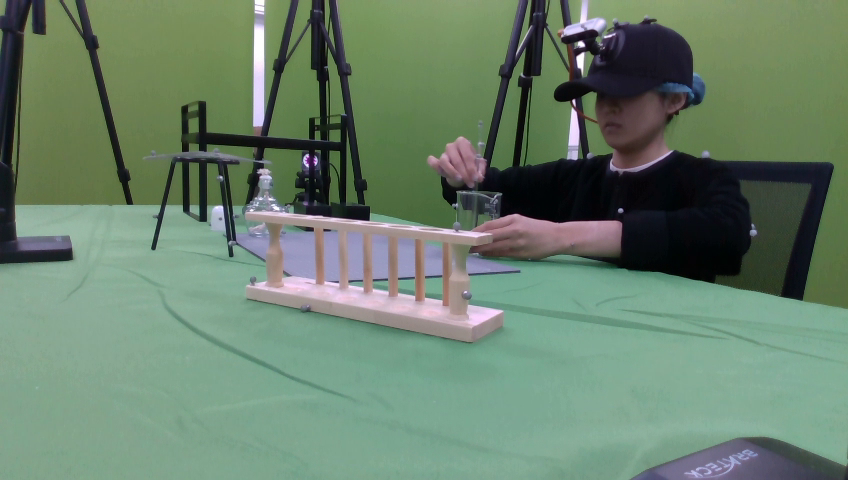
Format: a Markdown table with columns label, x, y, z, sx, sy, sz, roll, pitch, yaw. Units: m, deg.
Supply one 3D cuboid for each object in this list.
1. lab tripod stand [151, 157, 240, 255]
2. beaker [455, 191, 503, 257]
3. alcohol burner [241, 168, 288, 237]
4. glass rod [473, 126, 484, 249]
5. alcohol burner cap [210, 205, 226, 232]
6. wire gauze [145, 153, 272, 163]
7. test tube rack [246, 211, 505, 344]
| label | x | y | z | sx | sy | sz | roll | pitch | yaw |
| --- | --- | --- | --- | --- | --- | --- | --- | --- | --- |
| lab tripod stand | -0.310 | -0.052 | 0.866 | 0.148 | 0.131 | 0.148 | 2 | 6 | 0 |
| beaker | 0.087 | -0.025 | 0.955 | 0.074 | 0.100 | 0.083 | -1 | 9 | -25 |
| alcohol burner | -0.272 | -0.064 | 1.036 | 0.078 | 0.119 | 0.078 | 4 | 5 | 0 |
| glass rod | 0.088 | -0.082 | 0.966 | 0.008 | 0.199 | 0.008 | 3 | 12 | 0 |
| alcohol burner cap | -0.376 | -0.040 | 1.107 | 0.034 | 0.048 | 0.034 | 2 | 7 | 0 |
| wire gauze | -0.303 | -0.117 | 0.854 | 0.121 | 0.011 | 0.126 | 7 | 8 | 34 |
| test tube rack | -0.049 | 0.025 | 0.547 | 0.241 | 0.085 | 0.067 | 7 | 8 | 29 |
